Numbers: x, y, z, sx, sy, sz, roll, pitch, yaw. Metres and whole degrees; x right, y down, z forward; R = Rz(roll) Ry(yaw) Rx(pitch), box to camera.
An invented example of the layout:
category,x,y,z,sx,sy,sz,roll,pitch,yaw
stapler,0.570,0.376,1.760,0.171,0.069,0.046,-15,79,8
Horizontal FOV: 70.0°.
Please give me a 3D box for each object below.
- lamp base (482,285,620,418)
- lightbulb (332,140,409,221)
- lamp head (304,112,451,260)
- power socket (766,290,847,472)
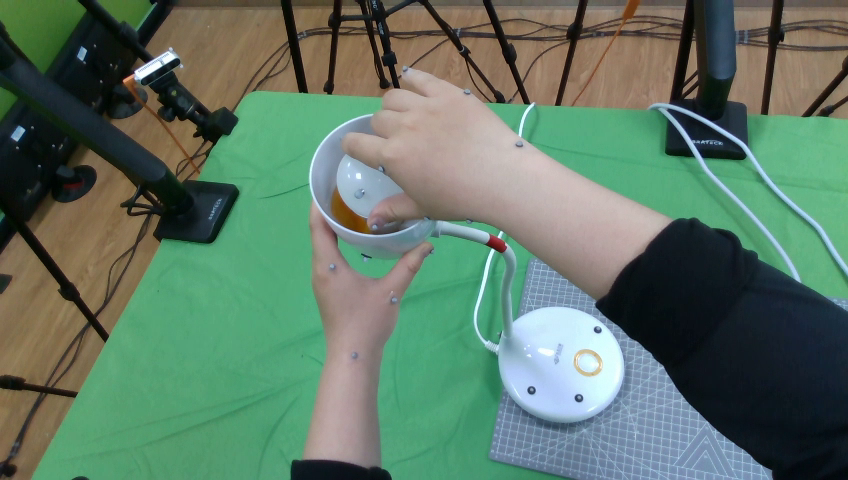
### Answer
category,x,y,z,sx,sy,sz,roll,pitch,yaw
lamp base,0.147,0.113,0.736,0.178,0.182,0.159,1,57,16
lightbulb,-0.041,-0.040,0.495,0.059,0.108,0.059,0,72,1
lamp head,-0.033,-0.032,0.525,0.112,0.124,0.111,-3,66,6
power socket,0.458,0.160,0.729,0.072,0.033,0.225,6,58,15
